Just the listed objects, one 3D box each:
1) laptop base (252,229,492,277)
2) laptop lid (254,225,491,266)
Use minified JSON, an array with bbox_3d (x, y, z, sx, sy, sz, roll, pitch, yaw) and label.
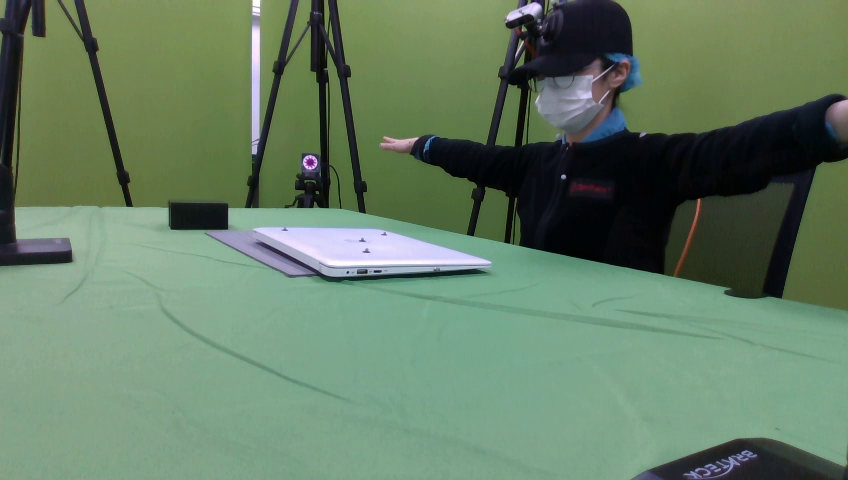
[{"bbox_3d":[-0.095,0.016,0.889,0.237,0.023,0.352,2,7,-31],"label":"laptop base"},{"bbox_3d":[-0.092,0.003,0.888,0.243,0.013,0.355,1,8,-29],"label":"laptop lid"}]
